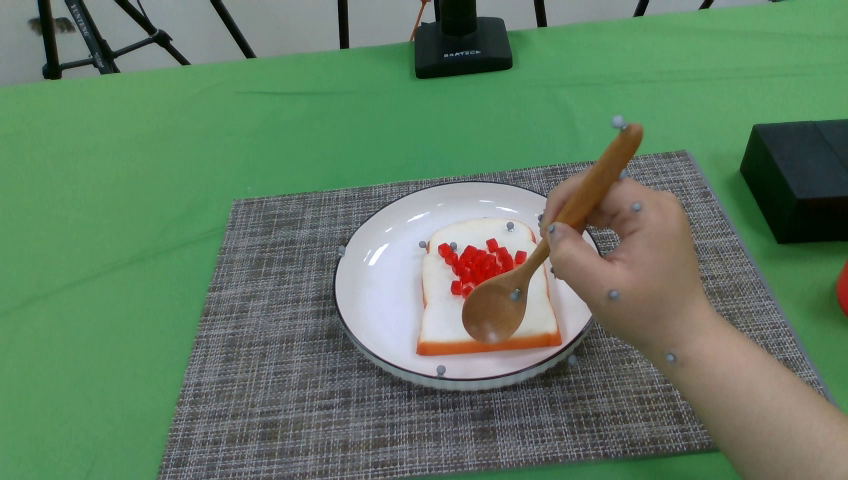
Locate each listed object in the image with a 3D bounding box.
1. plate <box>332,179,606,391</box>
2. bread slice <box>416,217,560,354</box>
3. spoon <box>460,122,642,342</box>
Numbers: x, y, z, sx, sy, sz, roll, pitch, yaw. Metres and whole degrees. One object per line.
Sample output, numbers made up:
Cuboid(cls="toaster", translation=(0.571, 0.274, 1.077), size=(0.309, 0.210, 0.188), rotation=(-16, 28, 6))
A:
Cuboid(cls="plate", translation=(0.033, 0.031, 0.478), size=(0.209, 0.038, 0.207), rotation=(-4, 45, 5))
Cuboid(cls="bread slice", translation=(0.046, 0.031, 0.480), size=(0.105, 0.019, 0.130), rotation=(-4, 46, 3))
Cuboid(cls="spoon", translation=(0.070, 0.006, 0.358), size=(0.041, 0.194, 0.021), rotation=(35, 49, 5))
